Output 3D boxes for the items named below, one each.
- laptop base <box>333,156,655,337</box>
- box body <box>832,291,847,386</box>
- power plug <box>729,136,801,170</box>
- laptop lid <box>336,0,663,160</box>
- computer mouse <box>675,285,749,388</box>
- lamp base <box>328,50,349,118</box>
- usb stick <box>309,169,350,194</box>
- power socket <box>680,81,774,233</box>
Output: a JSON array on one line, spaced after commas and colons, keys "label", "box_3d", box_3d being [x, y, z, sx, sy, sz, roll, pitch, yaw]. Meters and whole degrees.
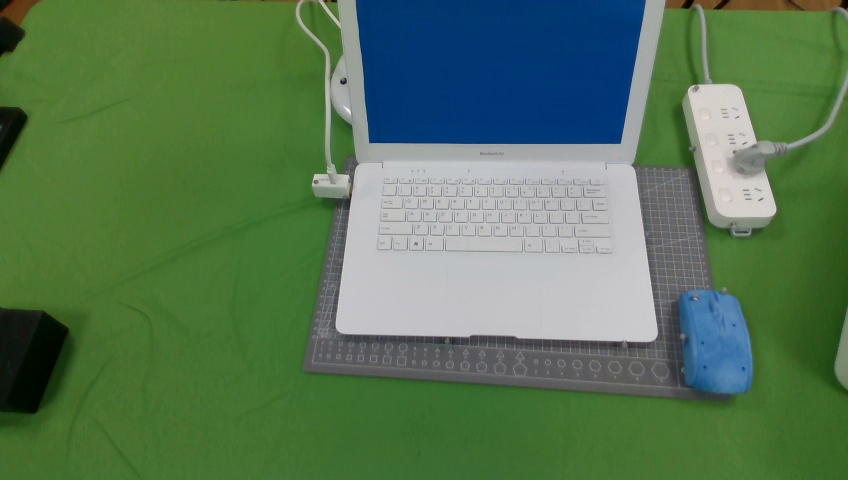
[{"label": "laptop base", "box_3d": [0.079, 0.002, 0.718, 0.354, 0.023, 0.233, 1, 64, 4]}, {"label": "box body", "box_3d": [0.593, 0.022, 0.596, 0.253, 0.162, 0.362, 25, 65, 16]}, {"label": "power plug", "box_3d": [0.402, -0.097, 0.722, 0.072, 0.053, 0.035, 10, 60, 7]}, {"label": "laptop lid", "box_3d": [0.081, -0.194, 0.703, 0.356, 0.244, 0.013, -1, 37, 4]}, {"label": "computer mouse", "box_3d": [0.302, 0.098, 0.639, 0.062, 0.041, 0.116, 5, 57, 8]}, {"label": "lamp base", "box_3d": [-0.066, -0.269, 0.786, 0.160, 0.182, 0.177, -32, 61, -15]}, {"label": "usb stick", "box_3d": [-0.111, -0.073, 0.756, 0.059, 0.027, 0.021, 5, 56, 3]}, {"label": "power socket", "box_3d": [0.375, -0.114, 0.760, 0.072, 0.033, 0.224, 1, 60, 2]}]
